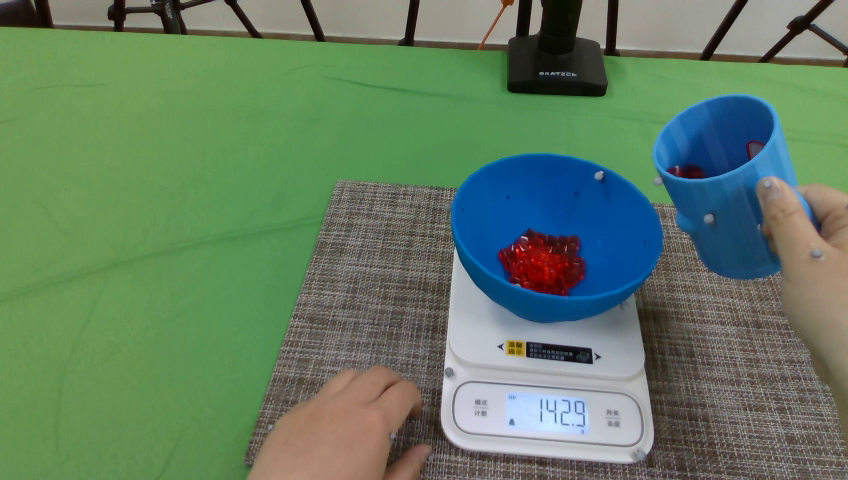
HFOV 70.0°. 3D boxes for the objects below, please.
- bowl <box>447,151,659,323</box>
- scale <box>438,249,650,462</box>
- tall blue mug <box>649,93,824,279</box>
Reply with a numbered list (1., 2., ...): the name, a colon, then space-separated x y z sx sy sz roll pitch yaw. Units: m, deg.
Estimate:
1. bowl: 0.090 0.010 0.458 0.151 0.077 0.150 1 47 -1
2. scale: 0.091 0.069 0.476 0.148 0.032 0.199 4 47 4
3. tall blue mug: 0.220 -0.031 0.405 0.106 0.109 0.077 18 66 49
